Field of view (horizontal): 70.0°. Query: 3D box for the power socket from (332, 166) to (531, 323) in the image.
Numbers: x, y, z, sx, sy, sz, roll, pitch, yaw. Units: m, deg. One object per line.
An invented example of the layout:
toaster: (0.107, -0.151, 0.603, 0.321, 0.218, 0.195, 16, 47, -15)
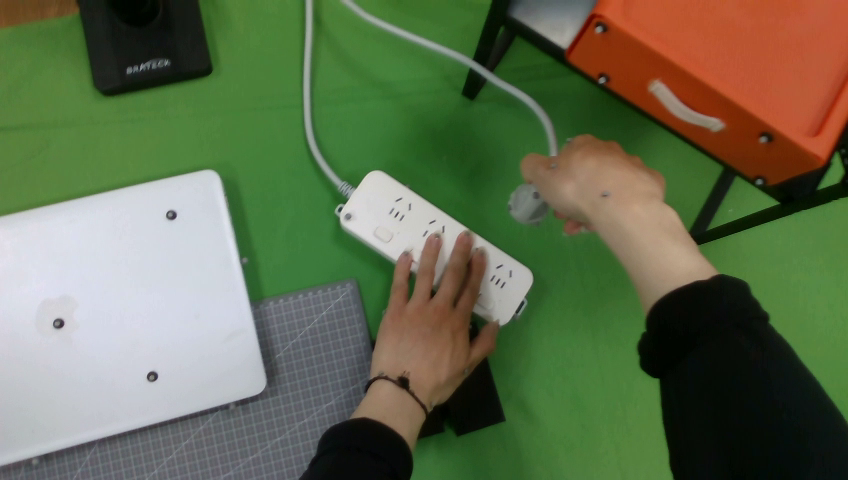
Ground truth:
power socket: (0.010, 0.005, 0.636, 0.226, 0.032, 0.072, 33, 80, 1)

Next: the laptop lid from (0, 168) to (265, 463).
laptop lid: (-0.354, 0.078, 0.588, 0.357, 0.013, 0.241, -13, 84, -7)

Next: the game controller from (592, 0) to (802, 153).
game controller: (0.225, -0.150, 0.486, 0.155, 0.051, 0.097, 36, 84, 3)

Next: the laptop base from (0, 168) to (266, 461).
laptop base: (-0.355, 0.078, 0.600, 0.355, 0.023, 0.235, -15, 86, -7)

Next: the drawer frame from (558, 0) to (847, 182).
drawer frame: (0.248, -0.190, 0.479, 0.201, 0.083, 0.213, 32, 80, 0)

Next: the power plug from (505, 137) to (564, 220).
power plug: (0.101, -0.048, 0.528, 0.035, 0.053, 0.072, 45, 75, 1)

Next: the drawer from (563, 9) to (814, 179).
drawer: (0.248, -0.187, 0.480, 0.194, 0.073, 0.211, 32, 80, 0)
